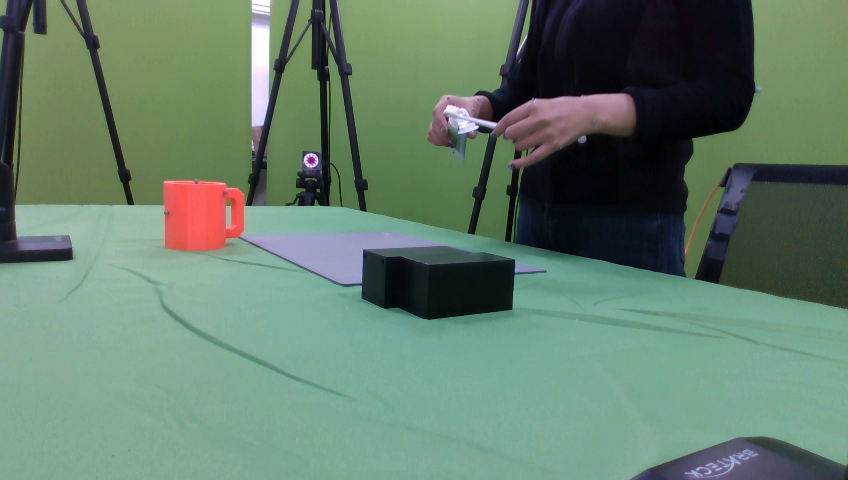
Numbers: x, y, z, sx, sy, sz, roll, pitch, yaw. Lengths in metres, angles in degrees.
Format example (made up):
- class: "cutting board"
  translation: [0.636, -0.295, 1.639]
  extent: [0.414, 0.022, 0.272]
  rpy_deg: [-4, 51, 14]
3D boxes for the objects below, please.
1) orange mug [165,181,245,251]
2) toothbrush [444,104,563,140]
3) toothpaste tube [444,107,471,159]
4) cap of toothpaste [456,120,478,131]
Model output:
- class: "orange mug"
  translation: [-0.326, -0.040, 0.911]
  extent: [0.083, 0.101, 0.127]
  rpy_deg: [8, 14, 37]
- class: "toothbrush"
  translation: [0.118, -0.176, 0.903]
  extent: [0.181, 0.016, 0.014]
  rpy_deg: [17, -25, 12]
- class: "toothpaste tube"
  translation: [0.059, -0.185, 1.038]
  extent: [0.034, 0.055, 0.165]
  rpy_deg: [-39, -8, -8]
- class: "cap of toothpaste"
  translation: [0.067, -0.180, 0.949]
  extent: [0.037, 0.011, 0.037]
  rpy_deg: [-13, 18, 5]
